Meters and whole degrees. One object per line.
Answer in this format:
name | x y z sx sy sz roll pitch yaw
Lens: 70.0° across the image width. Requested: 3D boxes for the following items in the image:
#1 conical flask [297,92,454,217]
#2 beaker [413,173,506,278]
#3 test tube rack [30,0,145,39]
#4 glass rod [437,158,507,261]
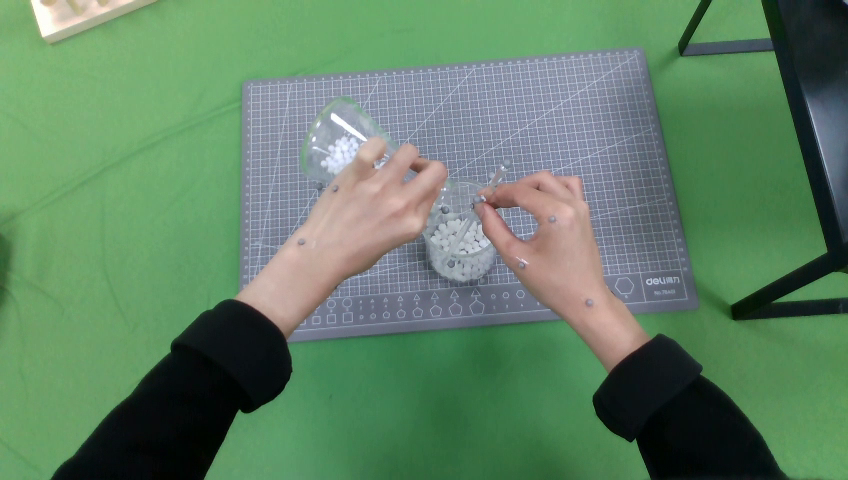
conical flask | -0.037 -0.064 0.503 0.122 0.075 0.075 29 75 4
beaker | 0.032 -0.009 0.568 0.084 0.101 0.073 18 73 9
test tube rack | -0.348 -0.327 0.691 0.242 0.086 0.066 -25 73 -6
glass rod | 0.035 -0.019 0.513 0.008 0.200 0.008 5 67 -11
